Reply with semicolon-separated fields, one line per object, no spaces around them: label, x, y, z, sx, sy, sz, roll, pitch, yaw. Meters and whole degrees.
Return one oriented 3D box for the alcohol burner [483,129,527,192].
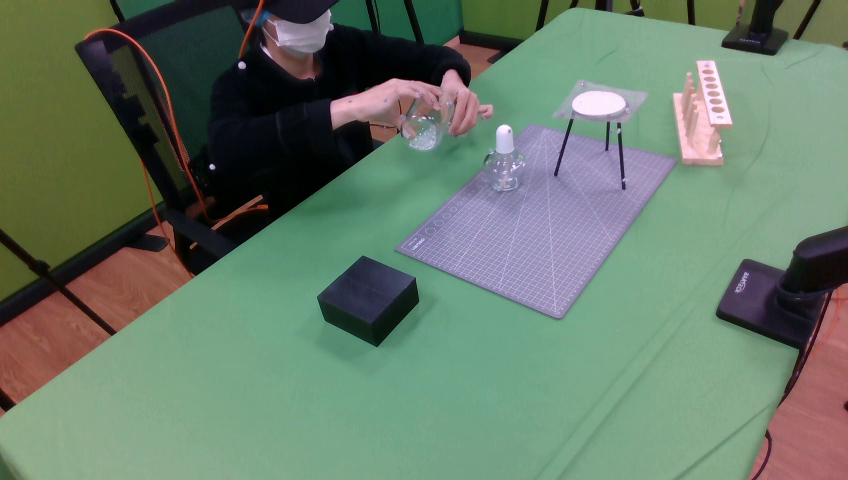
alcohol burner;0.141;-0.144;1.050;0.078;0.119;0.077;-4;42;4

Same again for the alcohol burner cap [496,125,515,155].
alcohol burner cap;0.138;-0.172;1.028;0.034;0.048;0.033;-5;38;4

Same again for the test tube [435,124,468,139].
test tube;0.053;-0.201;1.124;0.017;0.017;0.151;10;8;21

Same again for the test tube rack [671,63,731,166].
test tube rack;0.513;-0.241;1.132;0.066;0.085;0.242;4;41;14

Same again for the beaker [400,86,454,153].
beaker;0.005;-0.195;1.000;0.073;0.084;0.100;-1;39;19

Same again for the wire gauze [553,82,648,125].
wire gauze;0.293;-0.226;1.002;0.120;0.011;0.125;17;45;27

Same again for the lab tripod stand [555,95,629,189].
lab tripod stand;0.300;-0.174;1.045;0.148;0.132;0.147;-5;38;5
